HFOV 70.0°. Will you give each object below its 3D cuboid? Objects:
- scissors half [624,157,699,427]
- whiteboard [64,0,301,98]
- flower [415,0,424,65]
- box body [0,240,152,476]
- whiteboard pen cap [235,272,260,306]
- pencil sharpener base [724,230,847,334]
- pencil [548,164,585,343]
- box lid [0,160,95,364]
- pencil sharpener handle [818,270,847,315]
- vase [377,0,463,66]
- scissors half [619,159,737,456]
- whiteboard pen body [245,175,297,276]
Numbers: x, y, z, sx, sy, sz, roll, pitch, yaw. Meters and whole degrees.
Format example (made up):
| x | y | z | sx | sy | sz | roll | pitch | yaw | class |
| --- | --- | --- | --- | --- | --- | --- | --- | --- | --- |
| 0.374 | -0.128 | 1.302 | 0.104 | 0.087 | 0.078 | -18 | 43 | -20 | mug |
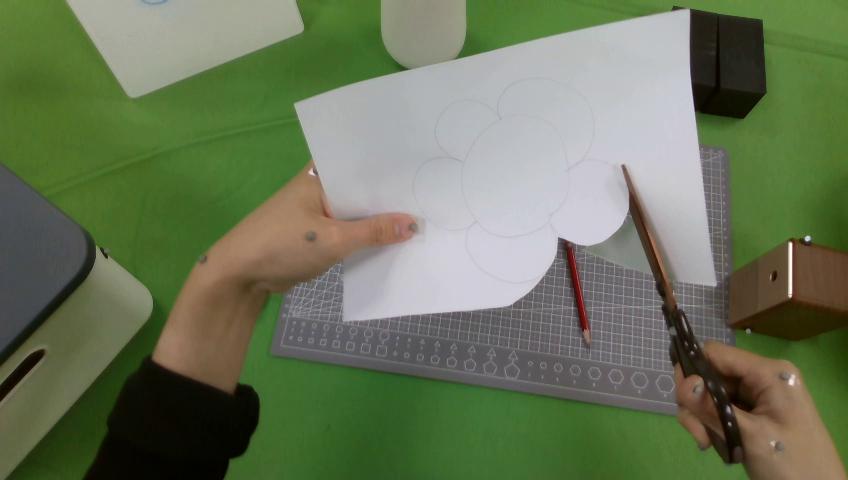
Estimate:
| x | y | z | sx | sy | sz | roll | pitch | yaw | class |
| --- | --- | --- | --- | --- | --- | --- | --- | --- | --- |
| 0.142 | 0.034 | 0.359 | 0.013 | 0.040 | 0.176 | -18 | 107 | 10 | scissors half |
| -0.292 | -0.347 | 0.627 | 0.217 | 0.308 | 0.142 | -25 | 52 | -9 | whiteboard |
| -0.010 | -0.317 | 0.556 | 0.044 | 0.365 | 0.038 | 1 | 52 | 3 | flower |
| -0.465 | 0.028 | 0.530 | 0.362 | 0.161 | 0.253 | 34 | 73 | 11 | box body |
| -0.174 | 0.048 | 0.601 | 0.018 | 0.018 | 0.033 | 14 | 66 | 5 | whiteboard pen cap |
| 0.343 | 0.043 | 0.565 | 0.077 | 0.107 | 0.061 | 12 | 69 | 1 | pencil sharpener base |
| 0.148 | 0.010 | 0.625 | 0.012 | 0.012 | 0.192 | -5 | 72 | -2 | pencil |
| -0.467 | 0.001 | 0.461 | 0.370 | 0.015 | 0.262 | 34 | 72 | 11 | box lid |
| 0.393 | 0.051 | 0.553 | 0.030 | 0.068 | 0.035 | 12 | 64 | 1 | pencil sharpener handle |
| -0.005 | -0.274 | 0.629 | 0.098 | 0.201 | 0.097 | 0 | 68 | 1 | vase |
| 0.140 | 0.037 | 0.338 | 0.013 | 0.040 | 0.174 | -19 | 85 | 5 | scissors half |
| -0.160 | -0.005 | 0.623 | 0.017 | 0.017 | 0.140 | 14 | 68 | 5 | whiteboard pen body |
